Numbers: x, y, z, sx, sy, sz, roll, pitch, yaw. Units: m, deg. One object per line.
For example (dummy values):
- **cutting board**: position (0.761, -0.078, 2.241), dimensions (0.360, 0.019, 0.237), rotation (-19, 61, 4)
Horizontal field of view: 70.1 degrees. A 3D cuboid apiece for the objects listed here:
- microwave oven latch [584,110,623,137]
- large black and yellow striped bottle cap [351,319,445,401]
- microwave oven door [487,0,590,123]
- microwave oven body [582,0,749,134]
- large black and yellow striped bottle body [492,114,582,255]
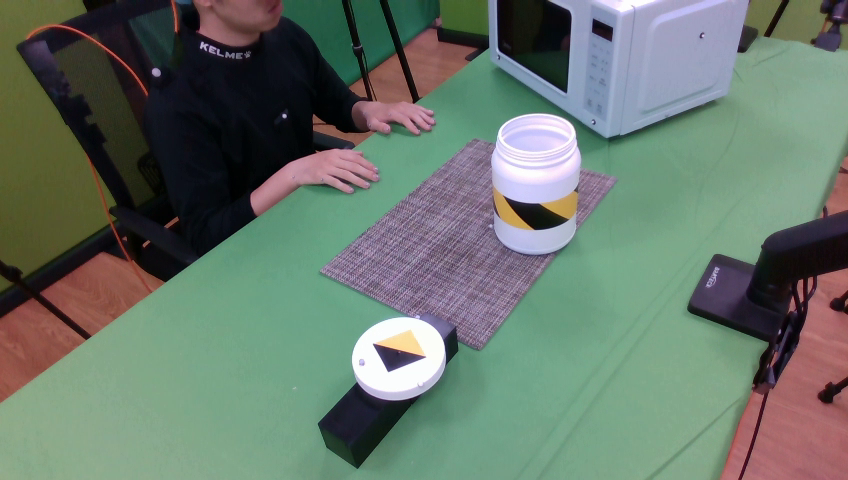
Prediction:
- **microwave oven latch**: position (0.337, -0.222, 1.142), dimensions (0.030, 0.029, 0.078), rotation (-21, 42, -14)
- **large black and yellow striped bottle cap**: position (-0.031, 0.143, 0.735), dimensions (0.115, 0.019, 0.114), rotation (-3, 40, 3)
- **microwave oven door**: position (0.232, -0.420, 1.230), dimensions (0.039, 0.245, 0.352), rotation (-22, 43, -16)
- **microwave oven body**: position (0.382, -0.444, 1.246), dimensions (0.327, 0.261, 0.437), rotation (-22, 42, -16)
- **large black and yellow striped bottle body**: position (0.169, -0.083, 0.912), dimensions (0.131, 0.185, 0.130), rotation (-4, 41, 4)
